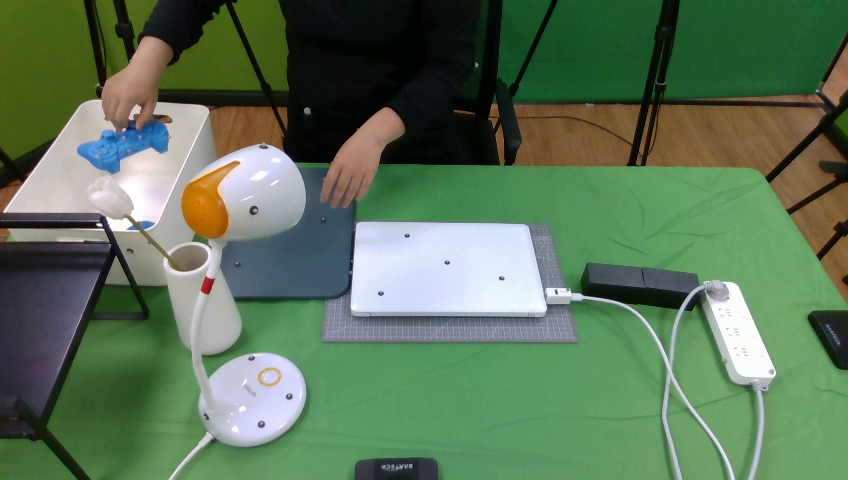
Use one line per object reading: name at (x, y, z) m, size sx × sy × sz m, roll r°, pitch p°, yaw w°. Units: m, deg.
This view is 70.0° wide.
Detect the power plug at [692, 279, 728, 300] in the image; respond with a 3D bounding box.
power plug at (0.522, 0.091, 1.116) m, size 0.072 × 0.053 × 0.035 m, roll 10°, pitch 47°, yaw 8°

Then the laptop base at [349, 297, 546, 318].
laptop base at (0.041, 0.055, 1.149) m, size 0.355 × 0.023 × 0.234 m, roll 1°, pitch 43°, yaw -4°

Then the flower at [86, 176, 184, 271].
flower at (-0.365, 0.038, 0.894) m, size 0.038 × 0.364 × 0.044 m, roll -4°, pitch 53°, yaw 15°

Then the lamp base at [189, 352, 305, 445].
lamp base at (-0.268, 0.196, 0.876) m, size 0.160 × 0.181 × 0.179 m, roll 26°, pitch 52°, yaw 20°

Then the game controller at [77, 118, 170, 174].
game controller at (-0.542, -0.182, 1.106) m, size 0.155 × 0.052 × 0.096 m, roll -33°, pitch 63°, yaw -31°

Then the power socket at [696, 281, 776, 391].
power socket at (0.550, 0.160, 1.078) m, size 0.072 × 0.033 × 0.225 m, roll 2°, pitch 46°, yaw -1°

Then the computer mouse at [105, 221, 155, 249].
computer mouse at (-0.537, 0.009, 1.127) m, size 0.062 × 0.041 × 0.117 m, roll 32°, pitch 55°, yaw 20°

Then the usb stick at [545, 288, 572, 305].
usb stick at (0.236, 0.102, 1.101) m, size 0.059 × 0.027 × 0.021 m, roll -2°, pitch 47°, yaw 2°

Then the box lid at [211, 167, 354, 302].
box lid at (-0.276, -0.024, 1.205) m, size 0.263 × 0.015 × 0.369 m, roll 0°, pitch 46°, yaw -4°

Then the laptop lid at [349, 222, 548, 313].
laptop lid at (0.041, 0.046, 1.143) m, size 0.357 × 0.013 × 0.240 m, roll 2°, pitch 43°, yaw -3°

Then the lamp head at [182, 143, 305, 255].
lamp head at (-0.216, -0.044, 0.697) m, size 0.112 × 0.113 × 0.123 m, roll 23°, pitch 31°, yaw 17°

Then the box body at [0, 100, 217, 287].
box body at (-0.559, -0.092, 1.145) m, size 0.254 × 0.161 × 0.361 m, roll 3°, pitch 46°, yaw -2°

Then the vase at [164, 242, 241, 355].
vase at (-0.349, 0.096, 0.954) m, size 0.098 × 0.201 × 0.097 m, roll 3°, pitch 47°, yaw -3°
